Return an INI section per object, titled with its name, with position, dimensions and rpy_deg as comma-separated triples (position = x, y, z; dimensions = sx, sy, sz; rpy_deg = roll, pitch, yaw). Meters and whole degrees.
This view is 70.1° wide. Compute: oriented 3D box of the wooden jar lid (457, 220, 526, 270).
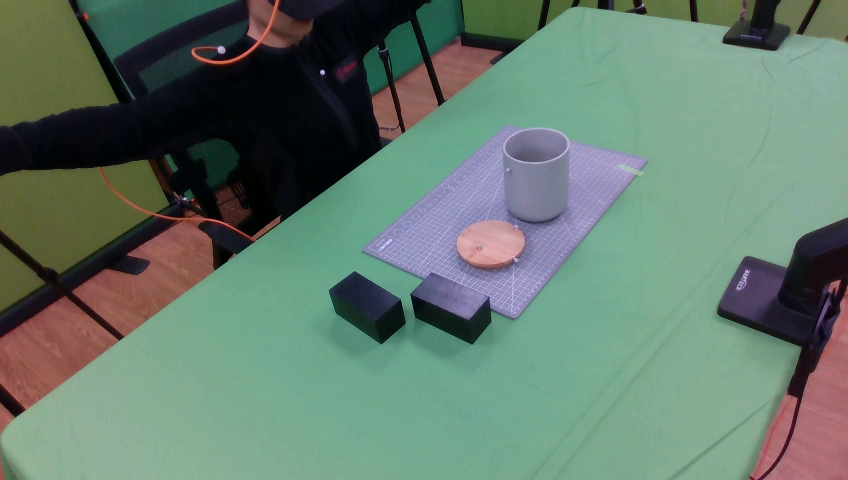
[wooden jar lid]
position = 0.106, 0.009, 0.950
dimensions = 0.108, 0.021, 0.108
rpy_deg = -4, 40, 4

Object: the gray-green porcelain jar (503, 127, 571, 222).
[gray-green porcelain jar]
position = 0.184, -0.102, 0.983
dimensions = 0.106, 0.127, 0.105
rpy_deg = -5, 40, 5
